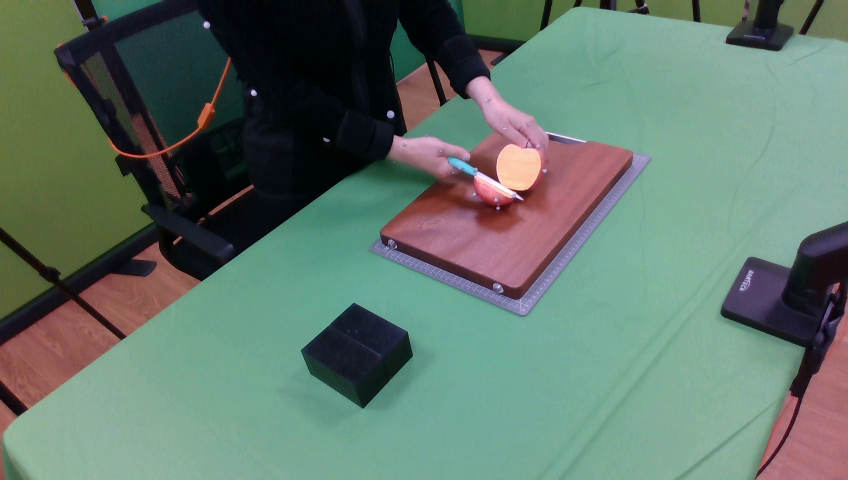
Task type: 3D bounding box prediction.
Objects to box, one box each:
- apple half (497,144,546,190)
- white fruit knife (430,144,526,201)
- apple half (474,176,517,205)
[{"bbox_3d":[0.168,-0.122,1.016,0.080,0.074,0.054,12,9,28],"label":"apple half"},{"bbox_3d":[0.087,-0.114,1.010,0.206,0.016,0.027,33,28,28],"label":"white fruit knife"},{"bbox_3d":[0.115,-0.076,0.992,0.081,0.033,0.081,23,17,-7],"label":"apple half"}]
